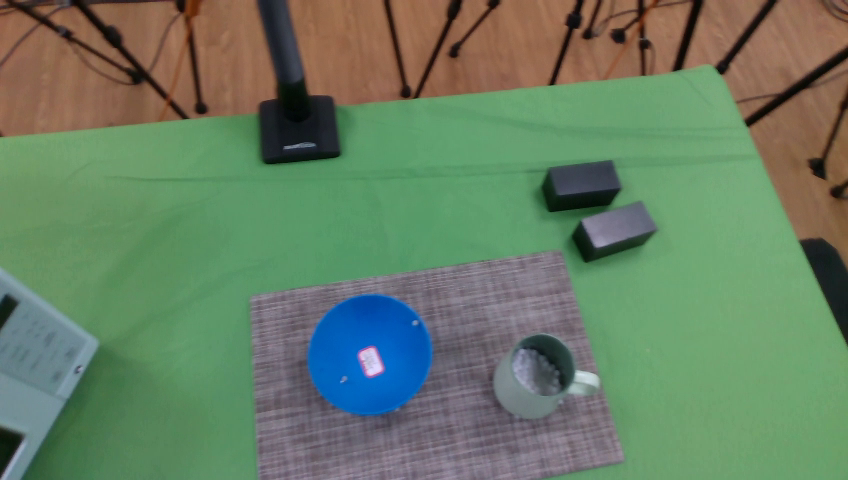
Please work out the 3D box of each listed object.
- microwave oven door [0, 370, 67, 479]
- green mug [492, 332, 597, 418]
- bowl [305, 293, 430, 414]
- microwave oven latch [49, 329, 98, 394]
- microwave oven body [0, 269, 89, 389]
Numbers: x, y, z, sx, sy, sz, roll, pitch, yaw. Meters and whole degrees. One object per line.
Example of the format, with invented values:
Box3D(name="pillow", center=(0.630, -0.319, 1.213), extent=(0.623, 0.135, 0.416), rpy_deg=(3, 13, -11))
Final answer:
Box3D(name="microwave oven door", center=(-0.497, 0.286, 0.559), extent=(0.039, 0.245, 0.353), rpy_deg=(17, 64, 5))
Box3D(name="green mug", center=(0.152, 0.171, 0.755), extent=(0.125, 0.105, 0.092), rpy_deg=(9, 63, 1))
Box3D(name="bowl", center=(-0.069, 0.150, 0.764), extent=(0.151, 0.077, 0.150), rpy_deg=(2, 64, -3))
Box3D(name="microwave oven latch", center=(-0.434, 0.147, 0.745), extent=(0.030, 0.030, 0.078), rpy_deg=(19, 65, 5))
Box3D(name="microwave oven body", center=(-0.624, 0.209, 0.593), extent=(0.326, 0.262, 0.439), rpy_deg=(18, 65, 4))
